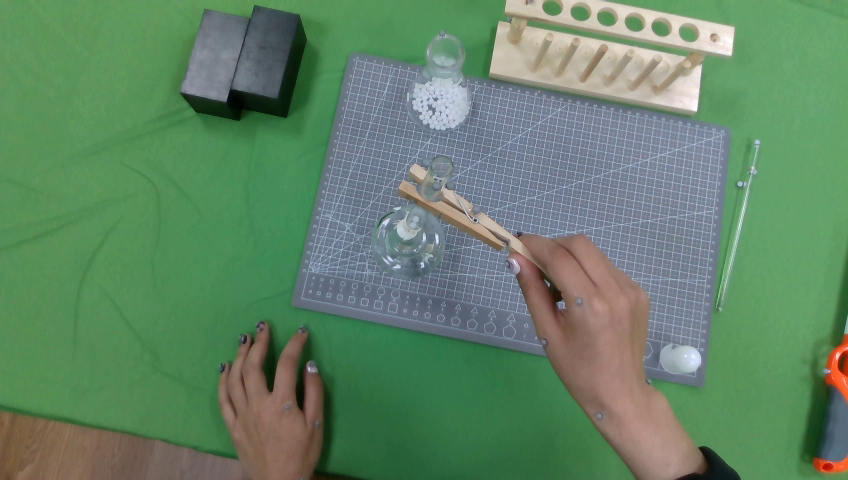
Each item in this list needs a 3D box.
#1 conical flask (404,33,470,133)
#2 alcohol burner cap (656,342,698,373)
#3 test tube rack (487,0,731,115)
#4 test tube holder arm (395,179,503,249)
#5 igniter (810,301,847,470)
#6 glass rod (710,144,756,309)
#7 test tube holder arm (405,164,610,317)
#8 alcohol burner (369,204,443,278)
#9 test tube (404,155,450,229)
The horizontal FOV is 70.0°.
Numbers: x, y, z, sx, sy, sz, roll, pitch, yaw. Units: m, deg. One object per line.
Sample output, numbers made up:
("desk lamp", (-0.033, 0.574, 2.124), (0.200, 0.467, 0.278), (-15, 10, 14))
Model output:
("conical flask", (0.017, -0.168, 0.636), (0.075, 0.122, 0.075), (0, 79, -2))
("alcohol burner cap", (0.268, 0.122, 0.635), (0.034, 0.048, 0.033), (0, 78, -2))
("test tube rack", (0.199, -0.208, 0.673), (0.242, 0.085, 0.066), (11, 79, -1))
("test tube holder arm", (0.020, -0.018, 0.440), (0.088, 0.015, 0.010), (28, 80, -1))
("igniter", (0.464, 0.114, 0.656), (0.057, 0.025, 0.275), (21, 79, -9))
("glass rod", (0.349, -0.017, 0.684), (0.008, 0.008, 0.199), (18, 82, 1))
("test tube holder arm", (0.061, 0.001, 0.441), (0.178, 0.015, 0.013), (35, 81, 0))
("alcohol burner", (-0.019, -0.002, 0.609), (0.078, 0.119, 0.077), (0, 77, 0))
("test tube", (0.000, -0.031, 0.454), (0.017, 0.150, 0.017), (2, 78, -8))
